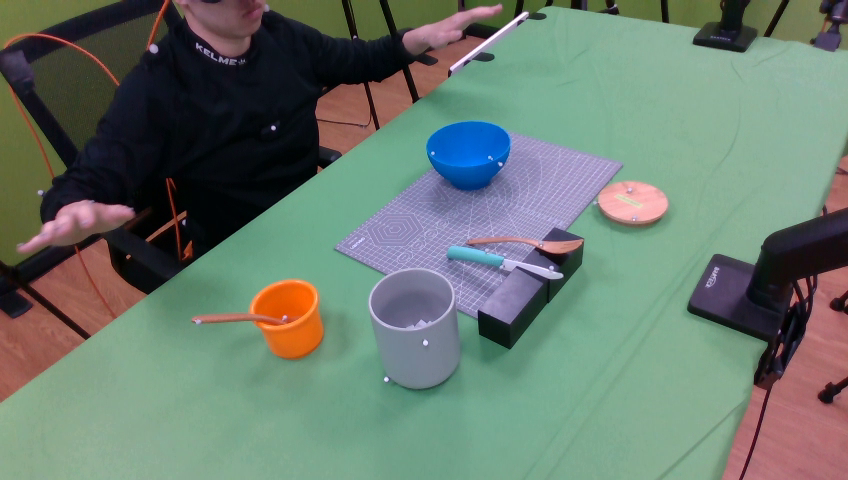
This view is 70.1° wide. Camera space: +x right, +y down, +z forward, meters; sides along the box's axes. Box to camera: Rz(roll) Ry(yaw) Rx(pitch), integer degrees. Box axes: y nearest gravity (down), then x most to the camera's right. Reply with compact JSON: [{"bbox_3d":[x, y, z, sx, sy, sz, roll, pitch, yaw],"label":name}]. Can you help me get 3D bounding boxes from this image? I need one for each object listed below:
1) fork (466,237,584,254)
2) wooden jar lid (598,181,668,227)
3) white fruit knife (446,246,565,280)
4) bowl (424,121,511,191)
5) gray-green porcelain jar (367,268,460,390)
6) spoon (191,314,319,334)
[{"bbox_3d":[0.142,0.005,0.894,0.205,0.019,0.028,4,43,41],"label":"fork"},{"bbox_3d":[0.340,-0.058,0.988,0.108,0.021,0.108,-5,41,5],"label":"wooden jar lid"},{"bbox_3d":[0.111,0.033,0.868,0.205,0.027,0.016,11,44,40],"label":"white fruit knife"},{"bbox_3d":[0.080,-0.140,1.074,0.151,0.077,0.150,-4,40,4],"label":"bowl"},{"bbox_3d":[-0.009,0.116,0.754,0.106,0.127,0.105,-4,41,4],"label":"gray-green porcelain jar"},{"bbox_3d":[-0.213,0.105,0.781,0.041,0.195,0.021,29,97,37],"label":"spoon"}]
